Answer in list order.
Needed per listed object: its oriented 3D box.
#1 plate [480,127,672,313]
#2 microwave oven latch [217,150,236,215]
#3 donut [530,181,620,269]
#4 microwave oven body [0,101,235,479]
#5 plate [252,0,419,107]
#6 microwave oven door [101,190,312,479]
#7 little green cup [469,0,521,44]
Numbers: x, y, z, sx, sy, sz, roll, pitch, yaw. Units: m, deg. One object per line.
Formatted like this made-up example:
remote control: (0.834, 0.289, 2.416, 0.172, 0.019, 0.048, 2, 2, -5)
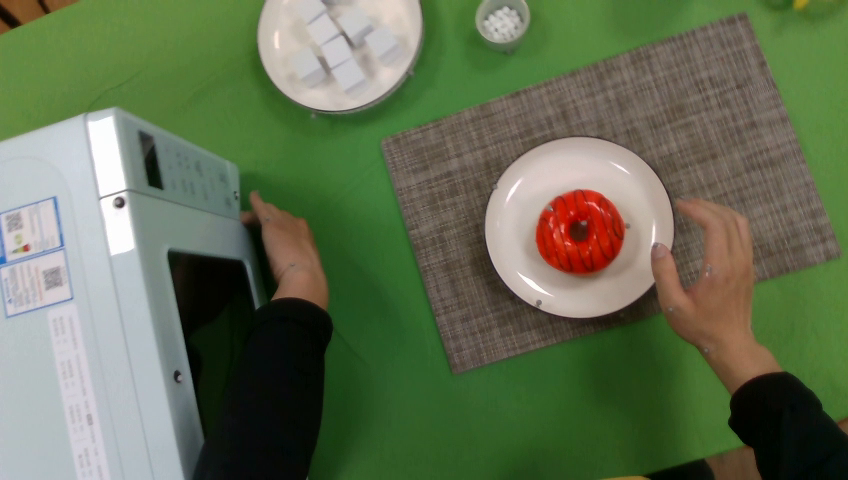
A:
plate: (0.168, -0.022, 0.687, 0.209, 0.038, 0.208, -1, 87, 9)
microwave oven latch: (-0.248, -0.068, 0.737, 0.030, 0.029, 0.079, -5, 86, 8)
donut: (0.167, -0.016, 0.675, 0.099, 0.048, 0.099, 0, 89, 8)
microwave oven body: (-0.354, 0.136, 0.643, 0.326, 0.261, 0.440, -16, 85, 7)
plate: (-0.107, -0.262, 0.747, 0.207, 0.039, 0.207, -1, 86, 9)
microwave oven door: (-0.205, 0.137, 0.615, 0.039, 0.244, 0.354, -16, 84, 7)
little green cup: (0.085, -0.265, 0.718, 0.061, 0.039, 0.061, -1, 86, 9)
